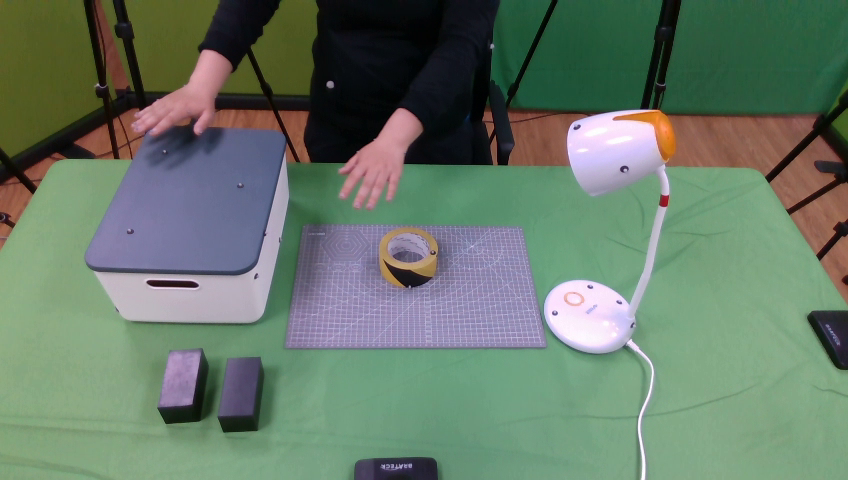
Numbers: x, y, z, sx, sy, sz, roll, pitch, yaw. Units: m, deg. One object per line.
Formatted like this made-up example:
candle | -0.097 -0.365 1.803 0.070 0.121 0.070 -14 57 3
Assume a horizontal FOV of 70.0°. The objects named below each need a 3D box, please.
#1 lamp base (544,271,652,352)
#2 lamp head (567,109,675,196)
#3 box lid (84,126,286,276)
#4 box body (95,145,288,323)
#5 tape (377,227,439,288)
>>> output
lamp base | 0.310 0.086 1.029 0.178 0.181 0.160 32 52 21
lamp head | 0.272 -0.123 0.818 0.122 0.113 0.112 -9 35 37
box lid | -0.393 -0.081 1.046 0.263 0.015 0.369 2 46 -3
box body | -0.396 -0.031 1.100 0.254 0.161 0.361 1 46 -3
tape | -0.031 0.032 1.141 0.117 0.053 0.116 2 46 -2
